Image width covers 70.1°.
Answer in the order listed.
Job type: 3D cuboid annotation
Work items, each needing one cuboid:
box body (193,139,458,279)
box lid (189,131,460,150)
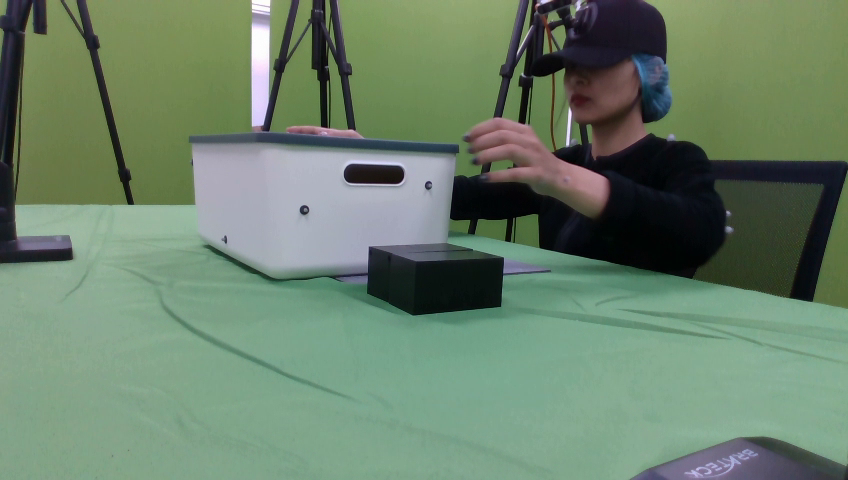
[{"bbox_3d":[-0.154,-0.059,0.840,0.255,0.160,0.362,-2,9,-33],"label":"box body"},{"bbox_3d":[-0.150,-0.132,0.828,0.265,0.015,0.369,-3,9,-33],"label":"box lid"}]
